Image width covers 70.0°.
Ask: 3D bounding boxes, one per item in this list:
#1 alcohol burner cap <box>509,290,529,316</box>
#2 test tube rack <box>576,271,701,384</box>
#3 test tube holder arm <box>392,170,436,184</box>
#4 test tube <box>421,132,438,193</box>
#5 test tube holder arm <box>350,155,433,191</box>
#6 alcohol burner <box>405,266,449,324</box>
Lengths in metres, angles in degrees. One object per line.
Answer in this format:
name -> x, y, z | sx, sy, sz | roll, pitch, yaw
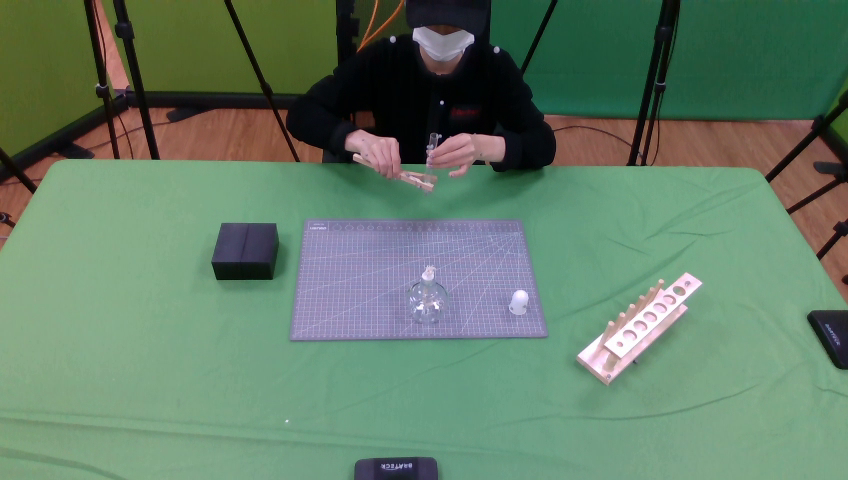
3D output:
alcohol burner cap -> 0.171, 0.110, 1.086 | 0.034, 0.048, 0.033 | 2, 45, -2
test tube rack -> 0.373, 0.138, 1.047 | 0.242, 0.085, 0.066 | -31, 56, -29
test tube holder arm -> -0.021, -0.125, 1.199 | 0.088, 0.015, 0.010 | 8, 45, -2
test tube -> 0.009, -0.144, 1.155 | 0.017, 0.151, 0.017 | 4, 50, -5
test tube holder arm -> -0.065, -0.134, 1.200 | 0.178, 0.015, 0.013 | 20, 45, 10
alcohol burner -> 0.005, 0.089, 1.043 | 0.078, 0.120, 0.077 | 1, 45, -1
